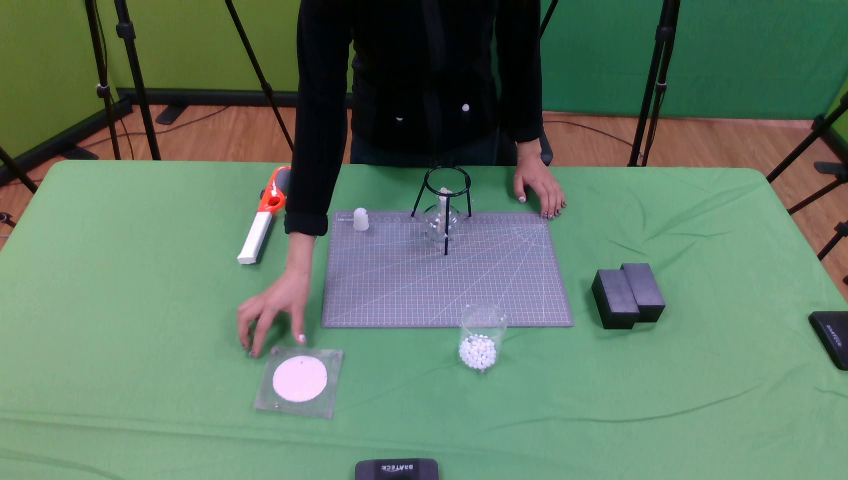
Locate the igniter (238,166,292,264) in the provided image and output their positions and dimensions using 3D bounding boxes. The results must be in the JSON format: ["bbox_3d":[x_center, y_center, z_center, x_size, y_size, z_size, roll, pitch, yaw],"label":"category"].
[{"bbox_3d":[-0.318,-0.060,1.229,0.057,0.025,0.275,-2,45,10],"label":"igniter"}]

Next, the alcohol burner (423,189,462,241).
[{"bbox_3d":[0.036,-0.055,1.186,0.078,0.120,0.077,1,48,-1],"label":"alcohol burner"}]

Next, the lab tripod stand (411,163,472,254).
[{"bbox_3d":[0.043,-0.069,1.186,0.148,0.132,0.147,3,47,-3],"label":"lab tripod stand"}]

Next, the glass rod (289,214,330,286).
[{"bbox_3d":[-0.221,0.015,1.179,0.008,0.008,0.199,12,46,9],"label":"glass rod"}]

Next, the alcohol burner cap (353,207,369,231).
[{"bbox_3d":[-0.127,-0.045,1.215,0.034,0.048,0.033,2,48,-2],"label":"alcohol burner cap"}]

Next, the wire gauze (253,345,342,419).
[{"bbox_3d":[-0.200,0.225,0.978,0.125,0.011,0.121,7,47,0],"label":"wire gauze"}]

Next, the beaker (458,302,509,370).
[{"bbox_3d":[0.092,0.160,0.998,0.083,0.101,0.074,35,53,28],"label":"beaker"}]
